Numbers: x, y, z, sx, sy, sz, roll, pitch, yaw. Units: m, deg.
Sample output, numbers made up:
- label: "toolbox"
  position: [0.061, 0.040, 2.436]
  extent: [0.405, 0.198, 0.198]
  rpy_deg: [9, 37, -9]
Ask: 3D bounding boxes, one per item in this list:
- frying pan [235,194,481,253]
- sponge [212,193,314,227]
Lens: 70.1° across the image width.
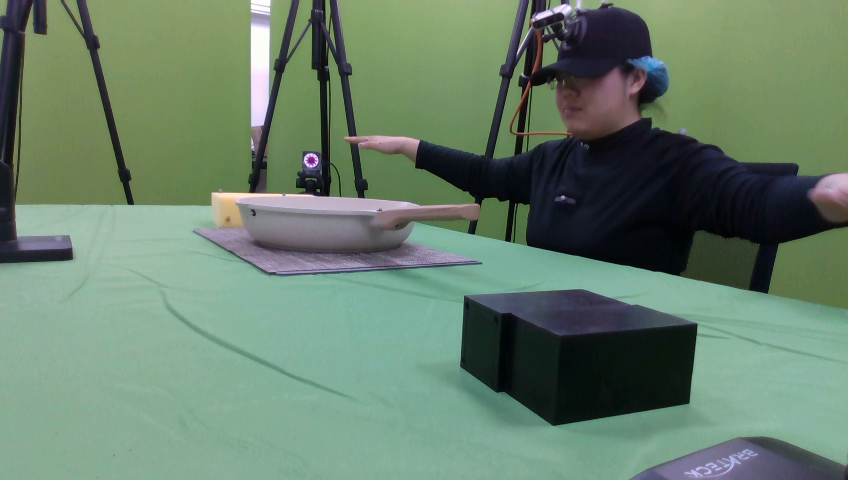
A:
- label: "frying pan"
  position: [-0.089, -0.034, 0.891]
  extent: [0.308, 0.102, 0.485]
  rpy_deg: [-4, 2, -36]
- label: "sponge"
  position: [-0.317, -0.063, 1.233]
  extent: [0.208, 0.061, 0.117]
  rpy_deg: [-2, 8, -27]
